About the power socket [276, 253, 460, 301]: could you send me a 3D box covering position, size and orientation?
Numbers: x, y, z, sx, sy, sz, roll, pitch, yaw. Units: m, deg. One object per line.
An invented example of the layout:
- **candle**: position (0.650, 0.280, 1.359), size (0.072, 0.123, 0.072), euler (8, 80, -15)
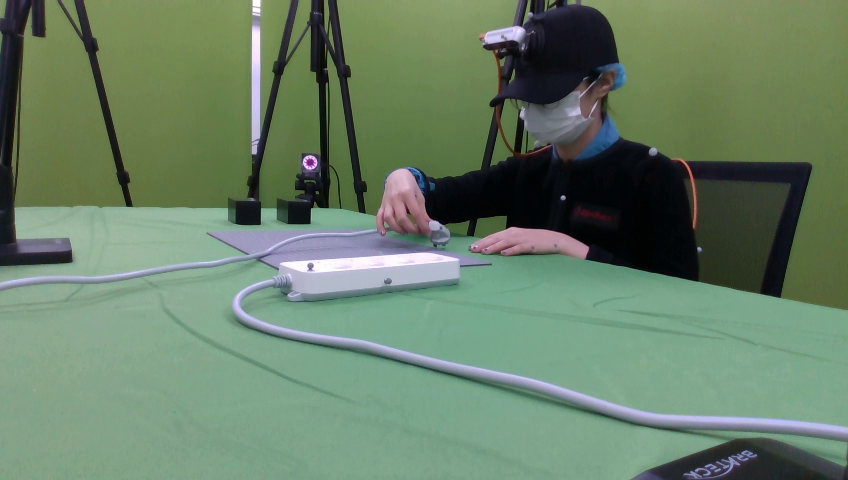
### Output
- **power socket**: position (-0.056, 0.037, 0.674), size (0.228, 0.032, 0.072), euler (-3, 8, -38)

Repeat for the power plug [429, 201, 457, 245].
- **power plug**: position (0.027, -0.027, 0.990), size (0.035, 0.072, 0.053), euler (17, 35, 23)
